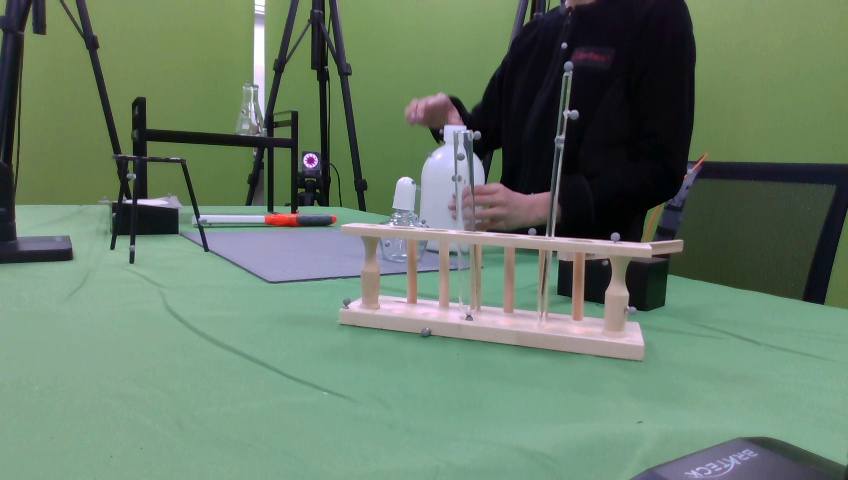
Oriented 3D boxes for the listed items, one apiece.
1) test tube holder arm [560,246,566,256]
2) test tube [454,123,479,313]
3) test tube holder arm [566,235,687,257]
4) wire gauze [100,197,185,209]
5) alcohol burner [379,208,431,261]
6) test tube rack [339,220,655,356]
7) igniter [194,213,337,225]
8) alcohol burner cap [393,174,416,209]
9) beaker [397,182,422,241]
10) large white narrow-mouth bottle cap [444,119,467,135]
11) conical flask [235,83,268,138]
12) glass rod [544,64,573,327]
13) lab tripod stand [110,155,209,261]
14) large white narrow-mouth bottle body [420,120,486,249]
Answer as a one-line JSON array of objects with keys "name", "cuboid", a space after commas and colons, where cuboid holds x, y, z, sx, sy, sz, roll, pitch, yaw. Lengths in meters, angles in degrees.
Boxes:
[{"name": "test tube holder arm", "cuboid": [0.173, 0.007, 0.612, 0.088, 0.015, 0.010, -3, 9, -29]}, {"name": "test tube", "cuboid": [0.034, -0.016, 0.476, 0.017, 0.150, 0.017, -2, 9, 1]}, {"name": "test tube holder arm", "cuboid": [0.215, 0.006, 0.630, 0.179, 0.015, 0.013, -3, 9, -31]}, {"name": "wire gauze", "cuboid": [-0.469, -0.062, 1.008, 0.126, 0.011, 0.121, -2, 8, -25]}, {"name": "alcohol burner", "cuboid": [-0.027, -0.031, 0.838, 0.078, 0.119, 0.078, 0, 6, 0]}, {"name": "test tube rack", "cuboid": [0.056, 0.032, 0.495, 0.242, 0.085, 0.067, 4, 7, 15]}, {"name": "igniter", "cuboid": [-0.306, -0.042, 1.196, 0.278, 0.025, 0.057, -2, -2, -30]}, {"name": "alcohol burner cap", "cuboid": [-0.025, -0.067, 0.834, 0.034, 0.048, 0.034, 8, 7, -1]}, {"name": "beaker", "cuboid": [-0.011, -0.051, 1.078, 0.074, 0.100, 0.083, -2, 9, -27]}, {"name": "large white narrow-mouth bottle cap", "cuboid": [0.049, -0.173, 0.931, 0.038, 0.024, 0.037, 3, 9, 0]}, {"name": "conical flask", "cuboid": [-0.402, -0.299, 1.406, 0.075, 0.122, 0.075, 2, 7, 0]}, {"name": "glass rod", "cuboid": [0.101, -0.028, 0.453, 0.008, 0.199, 0.008, 1, 14, 0]}, {"name": "lab tripod stand", "cuboid": [-0.361, -0.046, 0.806, 0.148, 0.131, 0.148, 2, 5, 0]}, {"name": "large white narrow-mouth bottle body", "cuboid": [0.047, -0.089, 0.945, 0.102, 0.194, 0.101, 3, 9, 0]}]
